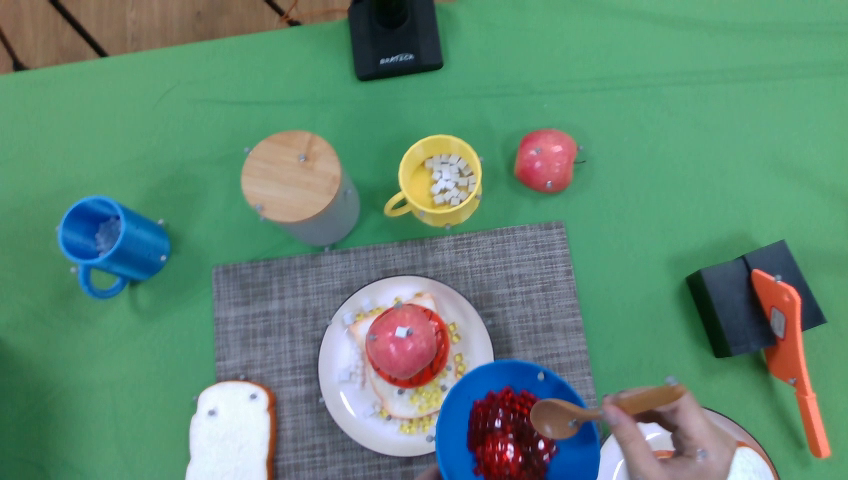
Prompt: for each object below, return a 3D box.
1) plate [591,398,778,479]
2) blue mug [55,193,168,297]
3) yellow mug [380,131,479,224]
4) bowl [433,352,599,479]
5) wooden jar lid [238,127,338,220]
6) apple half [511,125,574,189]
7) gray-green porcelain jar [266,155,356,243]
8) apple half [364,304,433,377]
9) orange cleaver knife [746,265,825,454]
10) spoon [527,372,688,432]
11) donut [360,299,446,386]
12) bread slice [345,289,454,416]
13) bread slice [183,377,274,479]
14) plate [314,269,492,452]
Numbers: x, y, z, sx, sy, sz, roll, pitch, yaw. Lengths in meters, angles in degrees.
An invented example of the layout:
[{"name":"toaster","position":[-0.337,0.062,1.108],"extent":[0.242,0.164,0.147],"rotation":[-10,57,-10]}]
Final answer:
[{"name":"plate","position":[0.275,0.278,0.660],"extent":[0.209,0.038,0.208],"rotation":[-1,77,5]},{"name":"blue mug","position":[-0.382,0.013,0.738],"extent":[0.082,0.106,0.116],"rotation":[13,78,7]},{"name":"yellow mug","position":[0.004,-0.068,0.746],"extent":[0.131,0.064,0.099],"rotation":[-30,77,-1]},{"name":"bowl","position":[0.079,0.191,0.572],"extent":[0.151,0.077,0.150],"rotation":[3,60,-5]},{"name":"wooden jar lid","position":[-0.146,-0.071,0.662],"extent":[0.108,0.021,0.108],"rotation":[-1,75,3]},{"name":"apple half","position":[0.147,-0.109,0.750],"extent":[0.074,0.053,0.080],"rotation":[14,79,10]},{"name":"gray-green porcelain jar","position":[-0.140,-0.056,0.724],"extent":[0.106,0.127,0.105],"rotation":[-1,77,5]},{"name":"apple half","position":[-0.029,0.107,0.653],"extent":[0.081,0.033,0.081],"rotation":[-3,75,11]},{"name":"orange cleaver knife","position":[0.392,0.129,0.662],"extent":[0.012,0.077,0.212],"rotation":[-18,98,-7]},{"name":"spoon","position":[0.136,0.129,0.475],"extent":[0.021,0.194,0.041],"rotation":[-39,86,-27]},{"name":"donut","position":[-0.024,0.116,0.689],"extent":[0.099,0.048,0.098],"rotation":[-1,78,5]},{"name":"bread slice","position":[-0.019,0.136,0.713],"extent":[0.107,0.018,0.133],"rotation":[-24,77,0]},{"name":"bread slice","position":[-0.232,0.230,0.720],"extent":[0.105,0.019,0.131],"rotation":[0,79,4]},{"name":"plate","position":[-0.024,0.139,0.712],"extent":[0.207,0.039,0.206],"rotation":[-1,77,5]}]
